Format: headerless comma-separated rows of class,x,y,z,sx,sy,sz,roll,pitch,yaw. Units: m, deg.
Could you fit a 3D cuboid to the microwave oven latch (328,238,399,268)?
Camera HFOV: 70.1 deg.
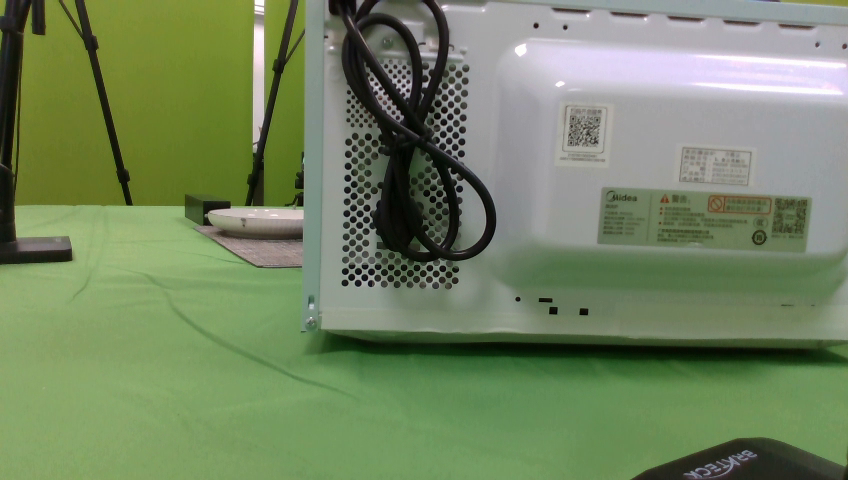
microwave oven latch,-0.069,0.015,0.694,0.079,0.029,0.030,3,7,-3

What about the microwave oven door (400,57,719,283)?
microwave oven door,0.155,-0.078,0.701,0.356,0.243,0.039,2,8,-4

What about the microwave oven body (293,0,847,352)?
microwave oven body,0.122,-0.055,0.550,0.442,0.260,0.325,3,7,-5

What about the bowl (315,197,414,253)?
bowl,-0.092,-0.023,0.931,0.151,0.077,0.151,3,8,0

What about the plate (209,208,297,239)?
plate,-0.271,-0.029,1.073,0.208,0.039,0.207,3,7,0
